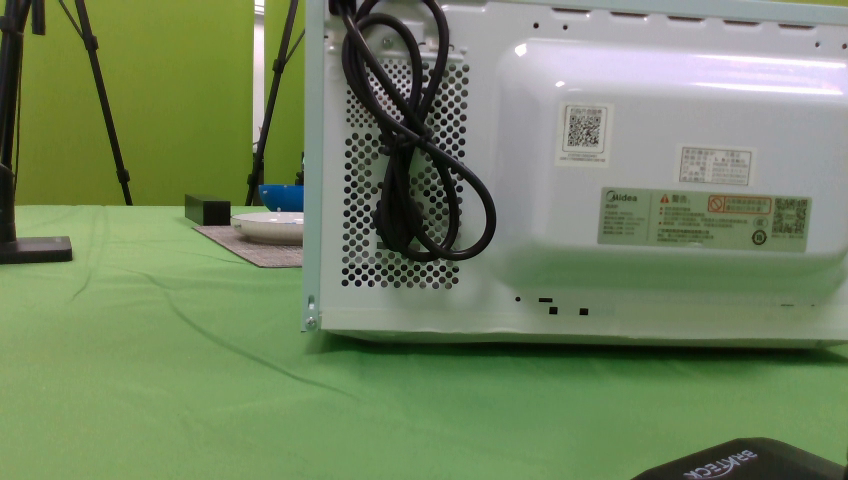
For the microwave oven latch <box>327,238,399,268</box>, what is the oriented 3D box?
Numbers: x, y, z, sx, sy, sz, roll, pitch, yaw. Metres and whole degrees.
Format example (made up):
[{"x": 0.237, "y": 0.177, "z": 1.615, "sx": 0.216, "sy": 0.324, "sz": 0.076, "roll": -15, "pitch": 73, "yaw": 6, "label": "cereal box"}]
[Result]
[{"x": -0.069, "y": 0.015, "z": 0.694, "sx": 0.079, "sy": 0.029, "sz": 0.030, "roll": 3, "pitch": 7, "yaw": -3, "label": "microwave oven latch"}]

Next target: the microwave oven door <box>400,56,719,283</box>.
[{"x": 0.155, "y": -0.077, "z": 0.698, "sx": 0.356, "sy": 0.243, "sz": 0.039, "roll": 2, "pitch": 8, "yaw": -5, "label": "microwave oven door"}]

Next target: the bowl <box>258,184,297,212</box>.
[{"x": -0.286, "y": -0.079, "z": 1.327, "sx": 0.151, "sy": 0.077, "sz": 0.151, "roll": 2, "pitch": 8, "yaw": 0, "label": "bowl"}]

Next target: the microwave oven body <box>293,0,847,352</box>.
[{"x": 0.122, "y": -0.055, "z": 0.550, "sx": 0.442, "sy": 0.260, "sz": 0.325, "roll": 3, "pitch": 7, "yaw": -5, "label": "microwave oven body"}]

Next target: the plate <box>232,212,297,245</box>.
[{"x": -0.214, "y": -0.019, "z": 1.018, "sx": 0.208, "sy": 0.039, "sz": 0.207, "roll": 2, "pitch": 7, "yaw": 0, "label": "plate"}]
